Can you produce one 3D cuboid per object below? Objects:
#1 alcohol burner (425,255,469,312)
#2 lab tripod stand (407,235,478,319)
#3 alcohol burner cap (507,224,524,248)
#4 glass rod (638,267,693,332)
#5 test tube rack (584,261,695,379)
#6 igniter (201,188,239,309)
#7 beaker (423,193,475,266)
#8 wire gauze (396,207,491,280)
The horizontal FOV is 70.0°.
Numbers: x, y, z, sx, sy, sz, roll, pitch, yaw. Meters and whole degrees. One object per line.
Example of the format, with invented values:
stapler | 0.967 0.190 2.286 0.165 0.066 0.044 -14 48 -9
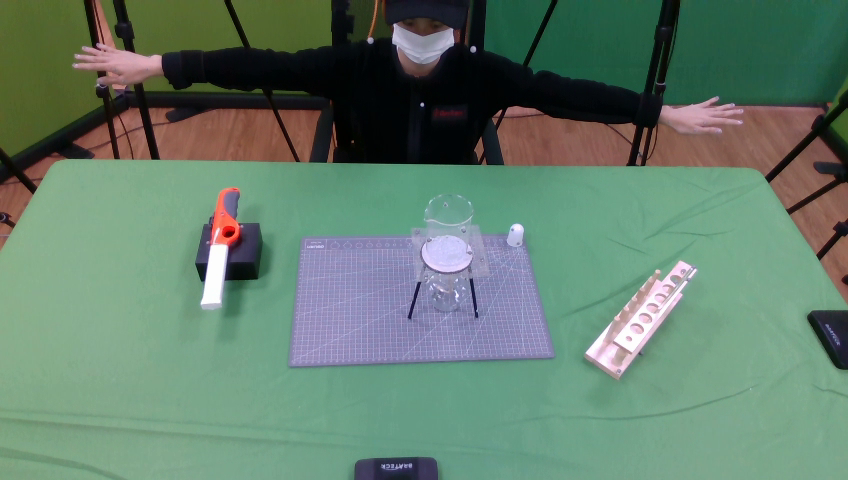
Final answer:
alcohol burner | 0.041 0.072 1.065 0.078 0.120 0.077 1 46 -1
lab tripod stand | 0.032 0.065 1.057 0.148 0.132 0.147 1 45 -1
alcohol burner cap | 0.183 -0.010 1.206 0.034 0.048 0.033 1 45 0
glass rod | 0.394 0.101 0.995 0.008 0.200 0.008 4 53 -5
test tube rack | 0.380 0.127 1.062 0.066 0.085 0.242 34 53 26
igniter | -0.367 0.006 1.095 0.057 0.025 0.274 -2 49 -7
beaker | 0.036 -0.013 0.973 0.084 0.101 0.073 -18 48 -20
wire gauze | 0.032 0.006 1.001 0.125 0.011 0.120 -20 52 -16
